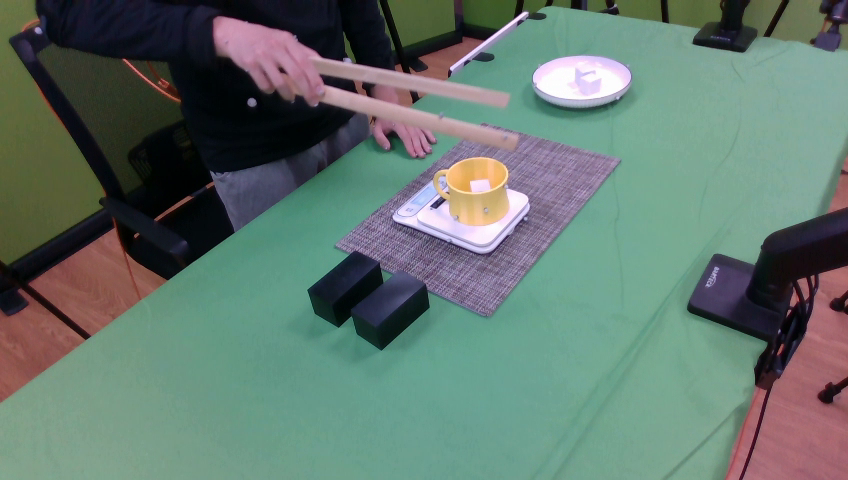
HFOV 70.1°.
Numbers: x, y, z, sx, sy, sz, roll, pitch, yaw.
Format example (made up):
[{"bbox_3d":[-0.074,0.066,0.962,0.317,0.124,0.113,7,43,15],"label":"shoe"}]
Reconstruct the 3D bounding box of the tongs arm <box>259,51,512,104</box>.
[{"bbox_3d":[-0.050,-0.244,0.918,0.389,0.028,0.028,5,48,-14],"label":"tongs arm"}]

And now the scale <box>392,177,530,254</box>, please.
[{"bbox_3d":[0.060,-0.050,1.006,0.199,0.032,0.149,22,48,30],"label":"scale"}]

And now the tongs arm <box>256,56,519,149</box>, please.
[{"bbox_3d":[-0.052,-0.196,0.866,0.386,0.026,0.050,12,44,-6],"label":"tongs arm"}]

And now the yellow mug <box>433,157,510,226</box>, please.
[{"bbox_3d":[0.072,-0.082,0.969,0.130,0.064,0.100,13,46,24],"label":"yellow mug"}]

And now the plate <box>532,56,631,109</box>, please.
[{"bbox_3d":[0.336,-0.335,1.301,0.207,0.039,0.206,-4,41,4],"label":"plate"}]
